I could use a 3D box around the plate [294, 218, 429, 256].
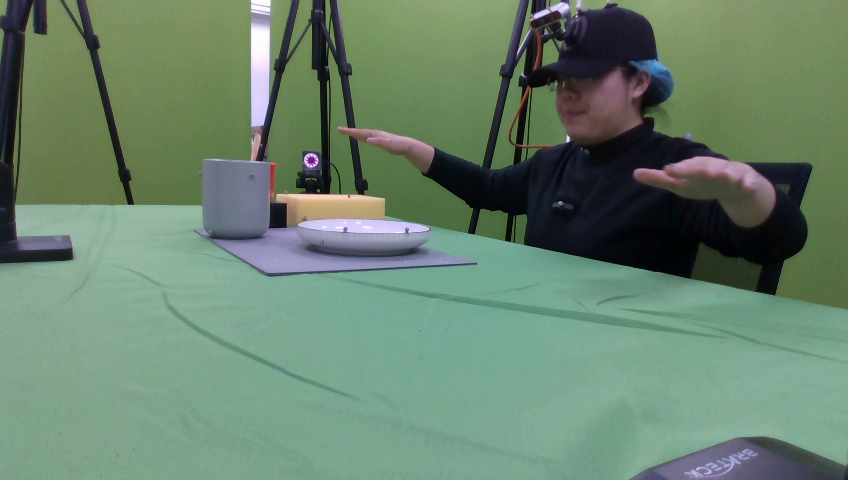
[{"bbox_3d":[-0.096,-0.005,0.936,0.208,0.039,0.207,3,7,0],"label":"plate"}]

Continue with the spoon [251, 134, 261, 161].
[{"bbox_3d":[-0.341,-0.152,1.206,0.042,0.021,0.193,3,51,-7],"label":"spoon"}]

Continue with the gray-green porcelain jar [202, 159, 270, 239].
[{"bbox_3d":[-0.310,-0.068,0.999,0.106,0.126,0.106,3,8,0],"label":"gray-green porcelain jar"}]

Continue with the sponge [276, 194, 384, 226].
[{"bbox_3d":[-0.202,-0.067,1.312,0.208,0.061,0.117,-3,9,-35],"label":"sponge"}]
